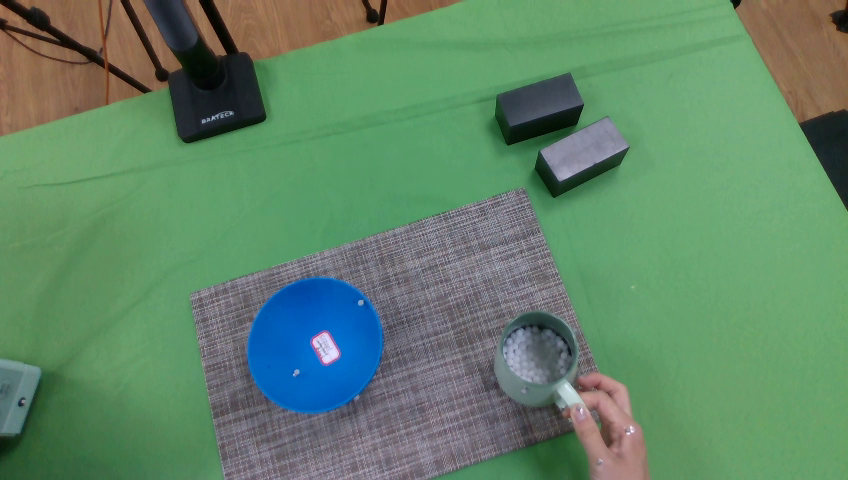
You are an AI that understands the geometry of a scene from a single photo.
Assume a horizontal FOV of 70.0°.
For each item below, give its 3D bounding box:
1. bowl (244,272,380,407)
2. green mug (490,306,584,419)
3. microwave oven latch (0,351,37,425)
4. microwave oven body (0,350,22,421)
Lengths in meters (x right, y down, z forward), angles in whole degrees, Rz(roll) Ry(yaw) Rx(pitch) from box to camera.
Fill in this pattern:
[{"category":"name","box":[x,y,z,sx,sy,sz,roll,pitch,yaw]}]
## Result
[{"category":"bowl","box":[-0.121,0.118,0.699,0.151,0.077,0.150,-1,72,3]},{"category":"green mug","box":[0.127,0.136,0.650,0.092,0.106,0.124,-34,68,-8]},{"category":"microwave oven latch","box":[-0.482,0.173,0.707,0.030,0.029,0.079,12,74,6]},{"category":"microwave oven body","box":[-0.667,0.284,0.579,0.325,0.261,0.439,10,73,6]}]
